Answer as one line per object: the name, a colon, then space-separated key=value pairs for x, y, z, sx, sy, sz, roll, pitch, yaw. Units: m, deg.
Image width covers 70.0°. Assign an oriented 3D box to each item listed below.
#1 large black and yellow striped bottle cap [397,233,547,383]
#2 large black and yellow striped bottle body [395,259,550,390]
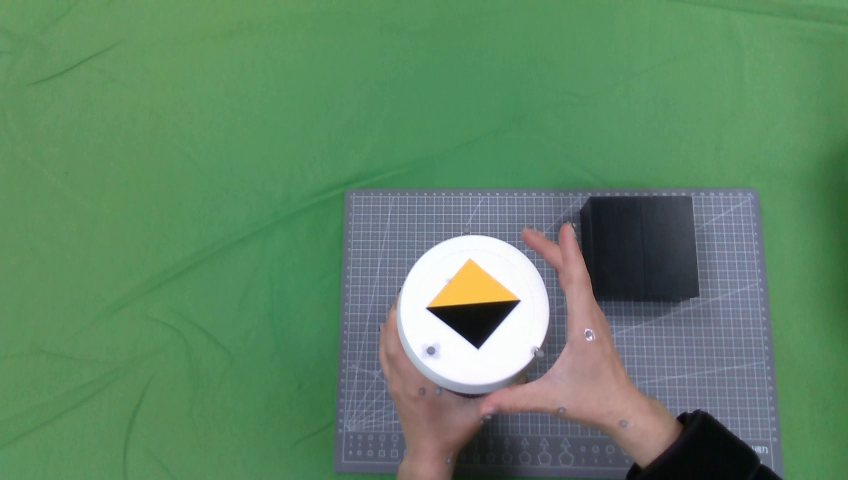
large black and yellow striped bottle cap: x=0.036 y=0.052 z=0.466 sx=0.115 sy=0.019 sz=0.114 roll=0 pitch=80 yaw=3
large black and yellow striped bottle body: x=0.043 y=0.069 z=0.552 sx=0.131 sy=0.185 sz=0.130 roll=-1 pitch=79 yaw=3
